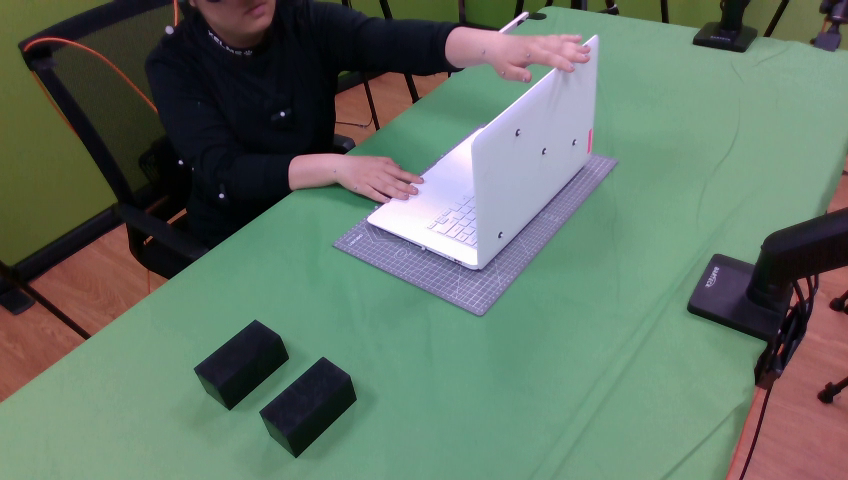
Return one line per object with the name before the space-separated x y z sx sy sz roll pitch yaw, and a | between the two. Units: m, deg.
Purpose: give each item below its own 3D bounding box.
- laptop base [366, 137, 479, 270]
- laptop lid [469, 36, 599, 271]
laptop base | 0.099 -0.085 1.059 0.233 0.023 0.355 21 48 34
laptop lid | 0.179 -0.136 0.919 0.013 0.242 0.358 23 47 32
